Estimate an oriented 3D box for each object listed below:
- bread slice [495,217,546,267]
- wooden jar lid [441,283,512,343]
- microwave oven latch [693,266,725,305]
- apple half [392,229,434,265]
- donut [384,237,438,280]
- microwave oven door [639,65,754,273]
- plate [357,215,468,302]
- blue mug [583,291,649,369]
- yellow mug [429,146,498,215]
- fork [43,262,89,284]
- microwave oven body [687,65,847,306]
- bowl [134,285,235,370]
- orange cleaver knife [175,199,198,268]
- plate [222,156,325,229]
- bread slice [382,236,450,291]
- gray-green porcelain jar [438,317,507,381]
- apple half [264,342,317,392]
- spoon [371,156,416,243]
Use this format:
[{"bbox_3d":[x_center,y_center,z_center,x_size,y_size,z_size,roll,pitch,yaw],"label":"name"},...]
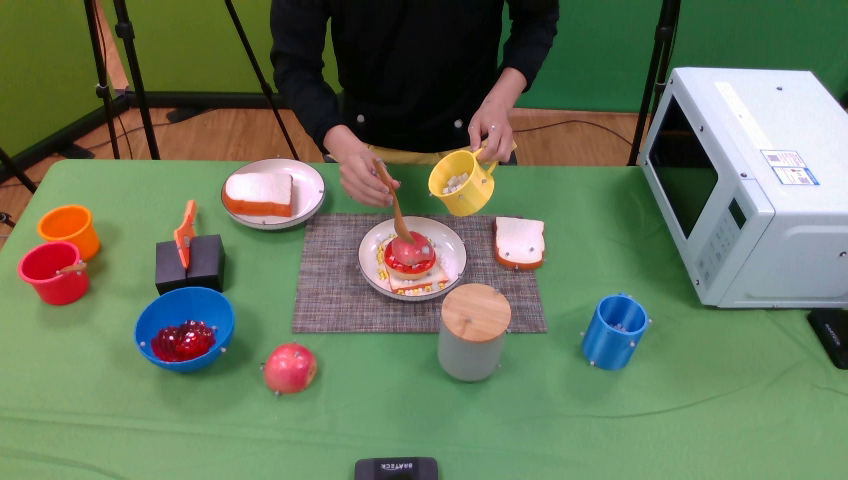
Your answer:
[{"bbox_3d":[0.194,0.003,1.205,0.105,0.019,0.131,5,44,3],"label":"bread slice"},{"bbox_3d":[0.080,0.114,0.931,0.108,0.021,0.107,1,49,-1],"label":"wooden jar lid"},{"bbox_3d":[0.523,0.082,1.115,0.030,0.029,0.078,3,46,0],"label":"microwave oven latch"},{"bbox_3d":[-0.020,0.005,1.083,0.081,0.033,0.081,6,48,-7],"label":"apple half"},{"bbox_3d":[-0.025,0.029,1.110,0.099,0.048,0.098,2,46,-2],"label":"donut"},{"bbox_3d":[0.522,-0.147,1.193,0.039,0.245,0.353,0,47,-3],"label":"microwave oven door"},{"bbox_3d":[-0.021,0.037,1.141,0.208,0.039,0.206,2,46,-2],"label":"plate"},{"bbox_3d":[0.324,0.142,1.023,0.082,0.106,0.116,15,47,11],"label":"blue mug"},{"bbox_3d":[0.078,-0.114,1.067,0.131,0.064,0.099,-44,40,3],"label":"yellow mug"},{"bbox_3d":[-0.599,0.053,1.014,0.207,0.019,0.028,-14,30,45],"label":"fork"},{"bbox_3d":[0.669,-0.111,1.176,0.326,0.261,0.439,0,46,-3],"label":"microwave oven body"},{"bbox_3d":[-0.377,0.155,0.981,0.151,0.077,0.150,2,46,-2],"label":"bowl"},{"bbox_3d":[-0.438,-0.017,1.138,0.012,0.077,0.210,-14,27,-7],"label":"orange cleaver knife"},{"bbox_3d":[-0.308,-0.095,1.251,0.209,0.038,0.208,3,47,-2],"label":"plate"},{"bbox_3d":[-0.024,0.045,1.147,0.107,0.018,0.133,-15,56,-13],"label":"bread slice"},{"bbox_3d":[0.076,0.158,0.977,0.106,0.127,0.105,2,47,-2],"label":"gray-green porcelain jar"},{"bbox_3d":[-0.214,0.198,0.970,0.074,0.053,0.080,19,48,10],"label":"apple half"},{"bbox_3d":[-0.049,-0.060,0.960,0.041,0.195,0.021,28,59,38],"label":"spoon"}]
